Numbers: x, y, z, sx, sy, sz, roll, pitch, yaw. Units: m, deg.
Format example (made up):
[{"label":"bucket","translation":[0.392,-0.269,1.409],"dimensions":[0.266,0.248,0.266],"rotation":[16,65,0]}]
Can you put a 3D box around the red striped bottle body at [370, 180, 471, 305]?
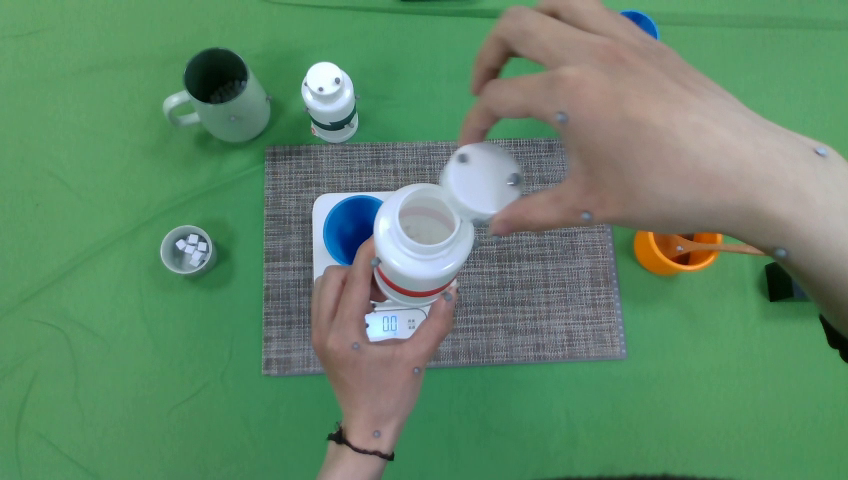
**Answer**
[{"label":"red striped bottle body","translation":[-0.005,0.002,0.402],"dimensions":[0.063,0.120,0.062],"rotation":[2,73,-5]}]

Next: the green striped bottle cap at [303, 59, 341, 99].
[{"label":"green striped bottle cap","translation":[-0.121,-0.191,0.717],"dimensions":[0.044,0.020,0.044],"rotation":[1,76,-3]}]

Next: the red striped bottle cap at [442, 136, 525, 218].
[{"label":"red striped bottle cap","translation":[0.033,-0.035,0.337],"dimensions":[0.045,0.018,0.044],"rotation":[4,75,-13]}]

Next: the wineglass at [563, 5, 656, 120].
[{"label":"wineglass","translation":[0.229,-0.218,0.766],"dimensions":[0.074,0.173,0.073],"rotation":[0,77,-2]}]

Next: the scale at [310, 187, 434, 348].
[{"label":"scale","translation":[-0.067,0.032,0.765],"dimensions":[0.149,0.031,0.200],"rotation":[-3,78,-3]}]

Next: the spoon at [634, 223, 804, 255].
[{"label":"spoon","translation":[0.350,0.003,0.735],"dimensions":[0.022,0.192,0.041],"rotation":[17,81,-43]}]

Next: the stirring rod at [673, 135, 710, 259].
[{"label":"stirring rod","translation":[0.328,-0.047,0.746],"dimensions":[0.014,0.178,0.006],"rotation":[3,36,11]}]

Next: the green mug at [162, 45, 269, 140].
[{"label":"green mug","translation":[-0.267,-0.179,0.768],"dimensions":[0.125,0.105,0.092],"rotation":[-24,80,-7]}]

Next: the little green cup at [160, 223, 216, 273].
[{"label":"little green cup","translation":[-0.292,0.013,0.758],"dimensions":[0.061,0.039,0.061],"rotation":[1,77,-4]}]

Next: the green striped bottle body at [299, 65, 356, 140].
[{"label":"green striped bottle body","translation":[-0.122,-0.179,0.768],"dimensions":[0.063,0.119,0.063],"rotation":[1,76,-2]}]

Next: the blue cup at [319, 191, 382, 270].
[{"label":"blue cup","translation":[-0.072,-0.003,0.705],"dimensions":[0.093,0.100,0.092],"rotation":[1,79,-3]}]
